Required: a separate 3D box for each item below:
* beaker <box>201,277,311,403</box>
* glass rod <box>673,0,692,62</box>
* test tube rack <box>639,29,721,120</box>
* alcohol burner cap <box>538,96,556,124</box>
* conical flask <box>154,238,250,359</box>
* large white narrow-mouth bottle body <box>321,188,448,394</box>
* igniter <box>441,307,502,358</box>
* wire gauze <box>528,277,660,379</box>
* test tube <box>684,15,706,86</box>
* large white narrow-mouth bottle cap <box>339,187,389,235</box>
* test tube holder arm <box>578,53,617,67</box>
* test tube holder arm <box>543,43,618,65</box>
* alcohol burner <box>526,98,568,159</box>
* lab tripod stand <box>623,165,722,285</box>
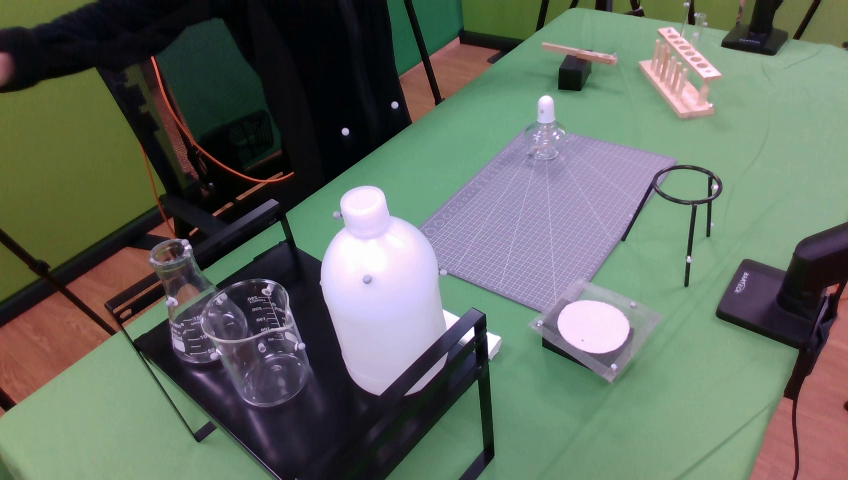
[{"bbox_3d":[-0.146,0.095,0.555,0.083,0.101,0.074,11,44,20],"label":"beaker"},{"bbox_3d":[0.537,-0.437,1.257,0.008,0.200,0.008,0,39,1],"label":"glass rod"},{"bbox_3d":[0.527,-0.351,1.262,0.067,0.085,0.241,-8,40,1],"label":"test tube rack"},{"bbox_3d":[0.222,-0.237,1.095,0.034,0.048,0.033,-7,34,5],"label":"alcohol burner cap"},{"bbox_3d":[-0.225,0.055,0.598,0.075,0.122,0.075,-5,41,4],"label":"conical flask"},{"bbox_3d":[-0.036,0.041,0.527,0.102,0.195,0.101,-5,41,4],"label":"large white narrow-mouth bottle body"},{"bbox_3d":[-0.009,0.094,0.870,0.274,0.025,0.057,25,61,33],"label":"igniter"},{"bbox_3d":[0.213,0.103,0.763,0.124,0.011,0.122,30,52,35],"label":"wire gauze"},{"bbox_3d":[0.541,-0.378,1.216,0.017,0.151,0.017,-2,44,3],"label":"test tube"},{"bbox_3d":[-0.046,-0.023,0.470,0.038,0.024,0.037,-4,41,4],"label":"large white narrow-mouth bottle cap"},{"bbox_3d":[0.376,-0.393,1.314,0.087,0.015,0.010,25,51,32],"label":"test tube holder arm"},{"bbox_3d":[0.344,-0.413,1.340,0.177,0.015,0.013,25,50,31],"label":"test tube holder arm"},{"bbox_3d":[0.228,-0.210,1.118,0.078,0.119,0.077,-5,43,5],"label":"alcohol burner"},{"bbox_3d":[0.365,-0.030,0.874,0.148,0.132,0.147,-6,41,6],"label":"lab tripod stand"}]
